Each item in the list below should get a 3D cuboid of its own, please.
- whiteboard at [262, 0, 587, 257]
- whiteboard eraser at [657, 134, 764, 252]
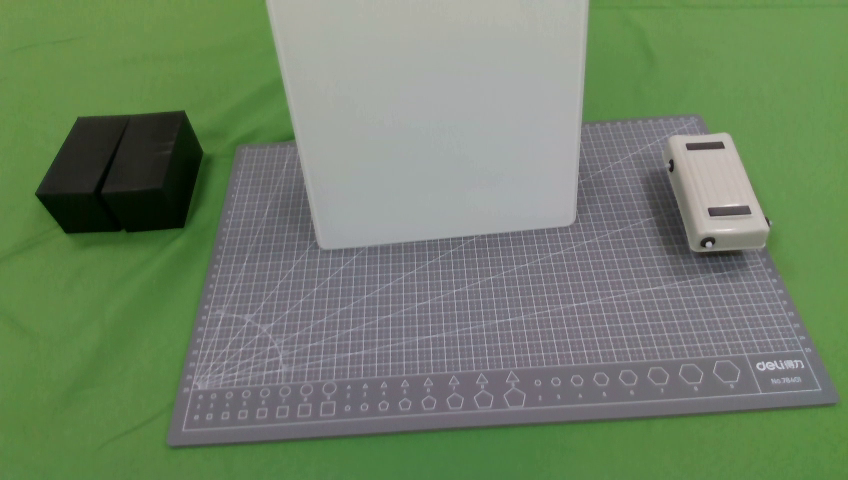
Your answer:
[{"bbox_3d":[0.003,-0.161,0.481,0.217,0.308,0.142,-5,31,0],"label":"whiteboard"},{"bbox_3d":[0.231,-0.037,0.495,0.055,0.042,0.111,-1,50,3],"label":"whiteboard eraser"}]
